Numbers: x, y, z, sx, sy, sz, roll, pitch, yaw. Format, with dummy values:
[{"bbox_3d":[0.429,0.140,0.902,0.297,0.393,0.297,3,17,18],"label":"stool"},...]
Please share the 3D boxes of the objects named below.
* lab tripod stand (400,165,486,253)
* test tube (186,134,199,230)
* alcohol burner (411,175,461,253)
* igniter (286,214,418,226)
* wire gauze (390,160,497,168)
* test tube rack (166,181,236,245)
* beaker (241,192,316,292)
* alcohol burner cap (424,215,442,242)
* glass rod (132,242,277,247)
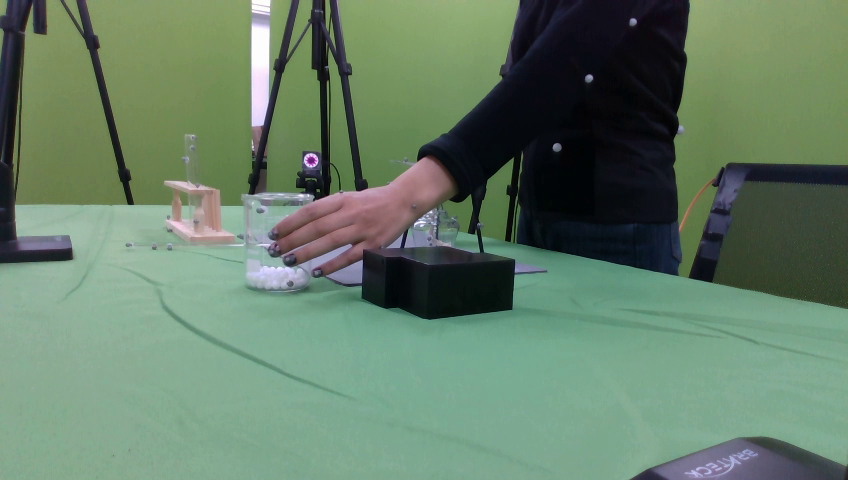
[{"bbox_3d":[0.027,-0.049,0.930,0.148,0.131,0.148,2,9,0],"label":"lab tripod stand"},{"bbox_3d":[-0.360,-0.089,0.946,0.017,0.150,0.017,0,10,0],"label":"test tube"},{"bbox_3d":[0.018,-0.040,0.931,0.078,0.119,0.078,0,7,0],"label":"alcohol burner"},{"bbox_3d":[-0.145,-0.043,1.263,0.278,0.025,0.057,-1,-2,-24],"label":"igniter"},{"bbox_3d":[0.028,-0.116,0.919,0.122,0.011,0.124,-4,9,-34],"label":"wire gauze"},{"bbox_3d":[-0.383,-0.051,1.024,0.067,0.085,0.241,-2,9,-31],"label":"test tube rack"},{"bbox_3d":[-0.157,0.000,0.642,0.084,0.100,0.074,4,7,19],"label":"beaker"},{"bbox_3d":[0.017,-0.022,1.098,0.034,0.048,0.034,2,8,0],"label":"alcohol burner cap"},{"bbox_3d":[-0.316,0.007,0.884,0.201,0.008,0.008,0,7,-27],"label":"glass rod"}]
